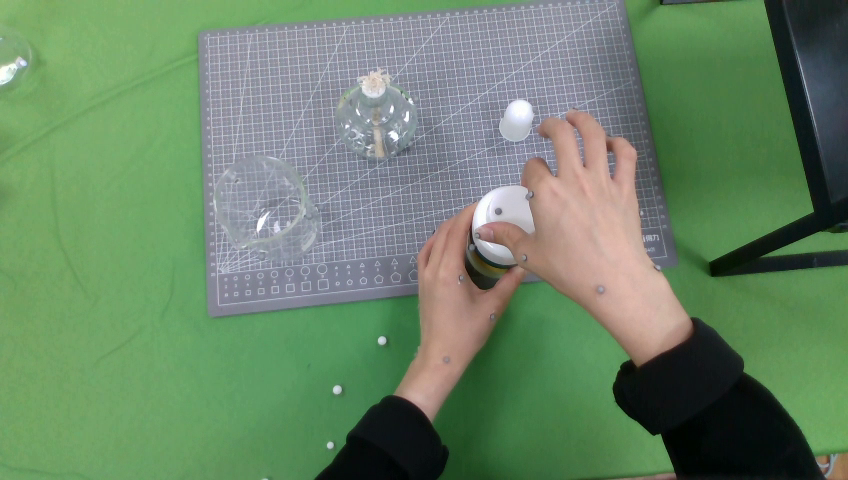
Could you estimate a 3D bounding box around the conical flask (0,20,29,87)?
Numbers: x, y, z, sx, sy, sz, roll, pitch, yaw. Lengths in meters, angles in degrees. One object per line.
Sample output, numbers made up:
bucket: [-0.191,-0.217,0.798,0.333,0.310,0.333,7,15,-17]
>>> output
conical flask: [-0.439,-0.200,0.562,0.075,0.122,0.075,0,77,-1]

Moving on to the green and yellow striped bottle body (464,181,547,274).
green and yellow striped bottle body: [0.070,-0.011,0.530,0.063,0.120,0.063,0,77,-1]

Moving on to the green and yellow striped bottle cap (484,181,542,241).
green and yellow striped bottle cap: [0.070,-0.023,0.475,0.045,0.020,0.045,0,75,0]

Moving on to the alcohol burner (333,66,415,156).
alcohol burner: [-0.046,-0.123,0.556,0.078,0.119,0.077,1,75,-3]

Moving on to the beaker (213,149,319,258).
beaker: [-0.136,-0.024,0.539,0.074,0.100,0.083,22,78,5]

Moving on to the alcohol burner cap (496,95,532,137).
alcohol burner cap: [0.090,-0.125,0.596,0.034,0.048,0.033,0,77,-1]
